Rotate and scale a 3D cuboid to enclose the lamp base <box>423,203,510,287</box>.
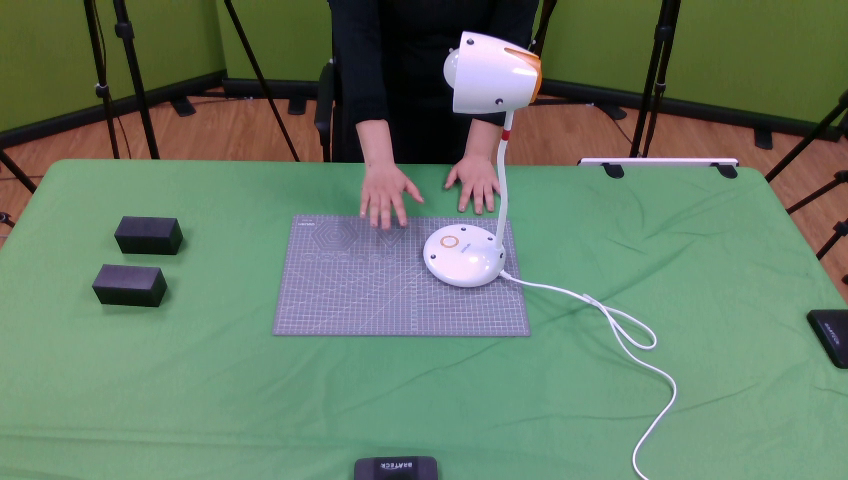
[{"bbox_3d":[0.092,-0.021,1.111,0.179,0.181,0.160,23,49,14],"label":"lamp base"}]

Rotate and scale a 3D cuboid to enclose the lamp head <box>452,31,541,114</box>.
[{"bbox_3d":[0.102,-0.228,0.858,0.123,0.113,0.112,11,46,0],"label":"lamp head"}]
